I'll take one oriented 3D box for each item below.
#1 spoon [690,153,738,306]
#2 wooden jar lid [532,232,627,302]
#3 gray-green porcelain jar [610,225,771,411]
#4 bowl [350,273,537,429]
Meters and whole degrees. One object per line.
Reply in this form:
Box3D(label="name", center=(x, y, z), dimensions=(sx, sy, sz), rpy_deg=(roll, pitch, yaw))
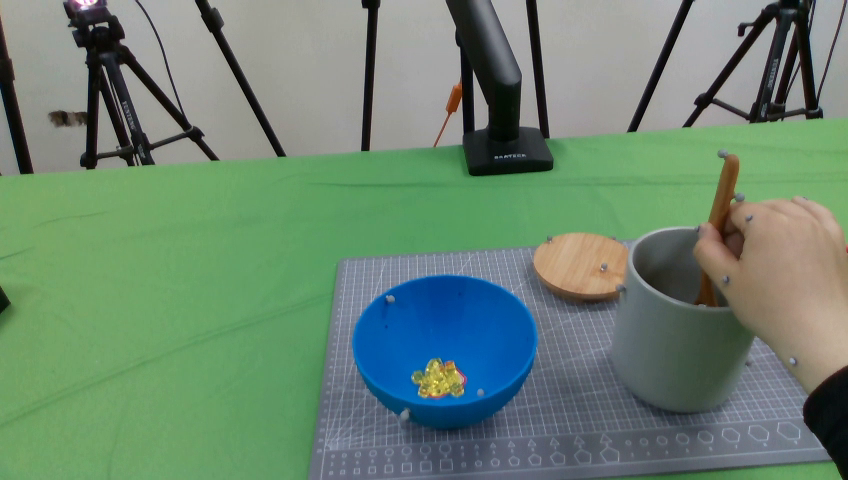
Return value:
Box3D(label="spoon", center=(0.217, 0.019, 0.461), dimensions=(0.021, 0.196, 0.041), rpy_deg=(-15, 40, 1))
Box3D(label="wooden jar lid", center=(0.170, 0.029, 0.650), dimensions=(0.108, 0.021, 0.107), rpy_deg=(-3, 35, 2))
Box3D(label="gray-green porcelain jar", center=(0.212, 0.068, 0.500), dimensions=(0.106, 0.127, 0.105), rpy_deg=(-3, 36, 2))
Box3D(label="bowl", center=(0.018, 0.104, 0.510), dimensions=(0.151, 0.077, 0.150), rpy_deg=(-2, 36, 2))
